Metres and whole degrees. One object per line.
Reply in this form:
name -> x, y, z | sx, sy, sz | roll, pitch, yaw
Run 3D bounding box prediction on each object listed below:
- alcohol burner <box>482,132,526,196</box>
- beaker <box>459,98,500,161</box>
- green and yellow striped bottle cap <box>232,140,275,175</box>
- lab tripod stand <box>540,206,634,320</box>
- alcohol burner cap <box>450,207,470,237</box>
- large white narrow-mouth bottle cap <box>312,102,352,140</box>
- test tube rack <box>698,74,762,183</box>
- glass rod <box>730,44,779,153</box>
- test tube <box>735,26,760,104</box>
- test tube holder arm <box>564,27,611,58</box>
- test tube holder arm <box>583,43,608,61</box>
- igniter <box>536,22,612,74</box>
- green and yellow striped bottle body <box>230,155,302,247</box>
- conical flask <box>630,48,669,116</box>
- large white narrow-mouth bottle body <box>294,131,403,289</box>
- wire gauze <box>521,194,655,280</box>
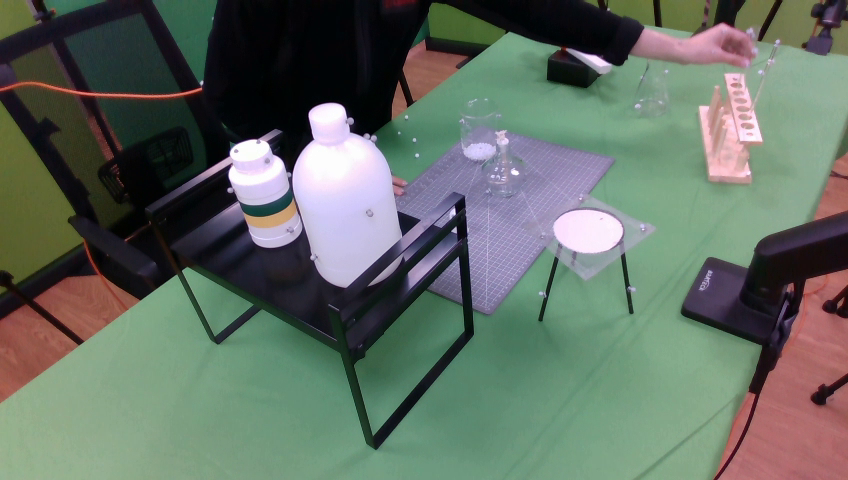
alcohol burner -> 0.138, -0.136, 1.042 | 0.078, 0.119, 0.077 | -4, 43, 4
beaker -> 0.104, -0.208, 1.142 | 0.074, 0.101, 0.083 | -20, 42, -15
green and yellow striped bottle cap -> -0.192, -0.093, 0.680 | 0.045, 0.020, 0.045 | -5, 39, 5
lab tripod stand -> 0.218, 0.034, 0.821 | 0.148, 0.132, 0.147 | -4, 42, 4
alcohol burner cap -> 0.057, -0.032, 0.987 | 0.034, 0.048, 0.033 | -4, 41, 4
large white narrow-mouth bottle cap -> -0.088, -0.114, 0.579 | 0.038, 0.024, 0.037 | -3, 39, 3
test tube rack -> 0.547, -0.208, 1.094 | 0.066, 0.085, 0.242 | 5, 42, 15
glass rod -> 0.555, -0.233, 1.021 | 0.008, 0.200, 0.008 | 2, 40, -1
test tube -> 0.563, -0.301, 1.056 | 0.017, 0.151, 0.017 | -6, 44, 7
test tube holder arm -> 0.369, -0.450, 1.373 | 0.013, 0.015, 0.177 | -40, 41, 10
test tube holder arm -> 0.379, -0.420, 1.341 | 0.010, 0.015, 0.087 | -40, 41, 10
igniter -> 0.330, -0.438, 1.366 | 0.057, 0.025, 0.274 | -11, 41, -20
green and yellow striped bottle body -> -0.188, -0.055, 0.714 | 0.063, 0.120, 0.063 | -4, 41, 4
conical flask -> 0.457, -0.317, 1.205 | 0.075, 0.122, 0.075 | -4, 41, 4
large white narrow-mouth bottle body -> -0.082, -0.047, 0.634 | 0.102, 0.195, 0.101 | -4, 39, 3
wire gauze -> 0.207, -0.012, 0.772 | 0.122, 0.011, 0.124 | -28, 44, -20
